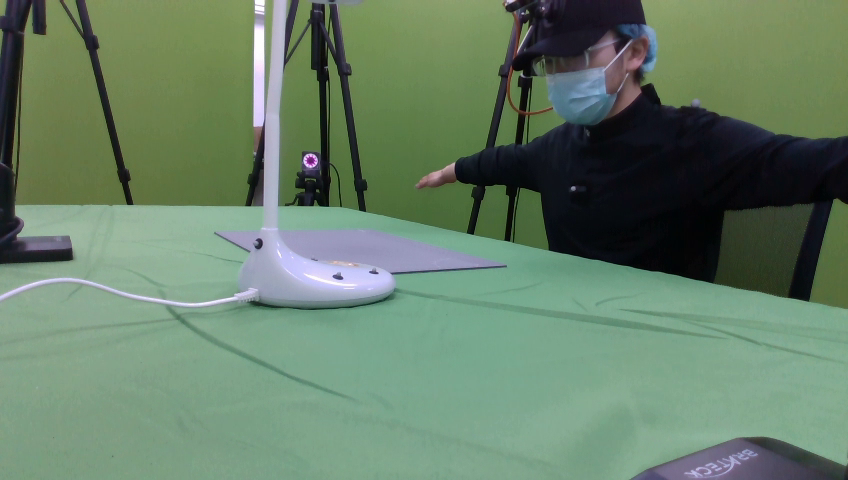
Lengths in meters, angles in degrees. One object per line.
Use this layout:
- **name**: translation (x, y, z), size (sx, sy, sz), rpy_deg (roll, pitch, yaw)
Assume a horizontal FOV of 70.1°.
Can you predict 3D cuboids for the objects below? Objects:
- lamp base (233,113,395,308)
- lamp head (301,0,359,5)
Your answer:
- **lamp base**: translation (-0.113, -0.033, 0.600), size (0.160, 0.180, 0.180), rpy_deg (6, 11, 28)
- **lamp head**: translation (-0.095, -0.314, 0.610), size (0.112, 0.123, 0.112), rpy_deg (-4, 50, 5)
